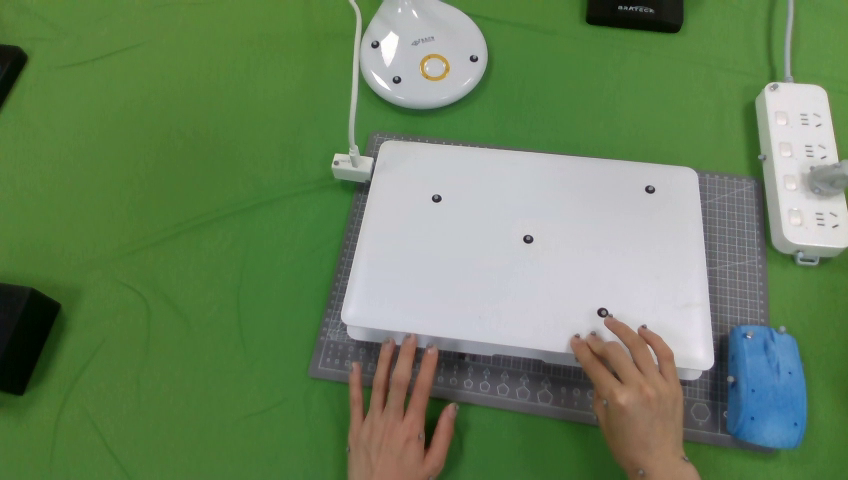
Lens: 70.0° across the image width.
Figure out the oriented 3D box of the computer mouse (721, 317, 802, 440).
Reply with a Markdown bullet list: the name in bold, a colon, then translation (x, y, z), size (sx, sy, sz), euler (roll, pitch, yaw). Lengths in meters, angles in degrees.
- **computer mouse**: translation (0.318, 0.128, 0.573), size (0.062, 0.041, 0.116), euler (10, 64, 8)

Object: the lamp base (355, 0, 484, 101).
- **lamp base**: translation (-0.016, -0.281, 0.688), size (0.160, 0.181, 0.177), euler (-29, 65, -10)

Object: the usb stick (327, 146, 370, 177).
- **usb stick**: translation (-0.077, -0.087, 0.679), size (0.059, 0.027, 0.021), euler (10, 63, 4)

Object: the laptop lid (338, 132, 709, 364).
- **laptop lid**: translation (0.104, -0.005, 0.621), size (0.356, 0.013, 0.240), euler (8, 62, 5)

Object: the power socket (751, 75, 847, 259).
- **power socket**: translation (0.411, -0.089, 0.670), size (0.072, 0.033, 0.225), euler (6, 67, 3)

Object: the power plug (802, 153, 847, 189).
- **power plug**: translation (0.435, -0.066, 0.634), size (0.072, 0.053, 0.035), euler (16, 67, 7)

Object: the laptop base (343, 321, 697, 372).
- **laptop base**: translation (0.106, 0.007, 0.647), size (0.354, 0.023, 0.234), euler (6, 70, 4)
